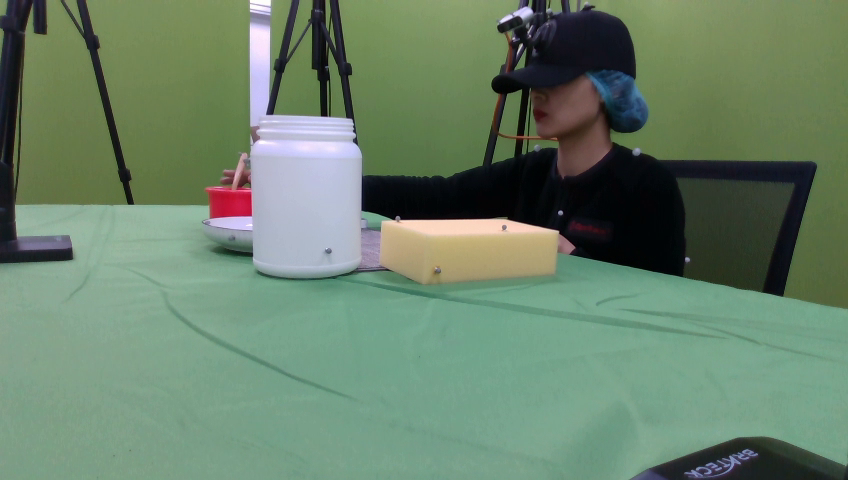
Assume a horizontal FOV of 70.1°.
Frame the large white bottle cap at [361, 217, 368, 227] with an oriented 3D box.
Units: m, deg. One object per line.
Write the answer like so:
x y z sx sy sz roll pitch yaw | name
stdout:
-0.171 -0.038 1.234 0.115 0.018 0.115 2 5 0 | large white bottle cap

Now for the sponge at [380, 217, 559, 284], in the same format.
0.059 0.008 0.786 0.208 0.061 0.117 -3 11 -32 | sponge

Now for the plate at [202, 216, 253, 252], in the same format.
-0.223 -0.009 0.909 0.209 0.038 0.209 2 7 0 | plate

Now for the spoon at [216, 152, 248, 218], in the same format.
-0.340 -0.093 1.090 0.041 0.193 0.021 -1 -37 2 | spoon

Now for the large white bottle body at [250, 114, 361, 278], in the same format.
-0.141 -0.057 0.727 0.131 0.184 0.130 1 10 0 | large white bottle body
